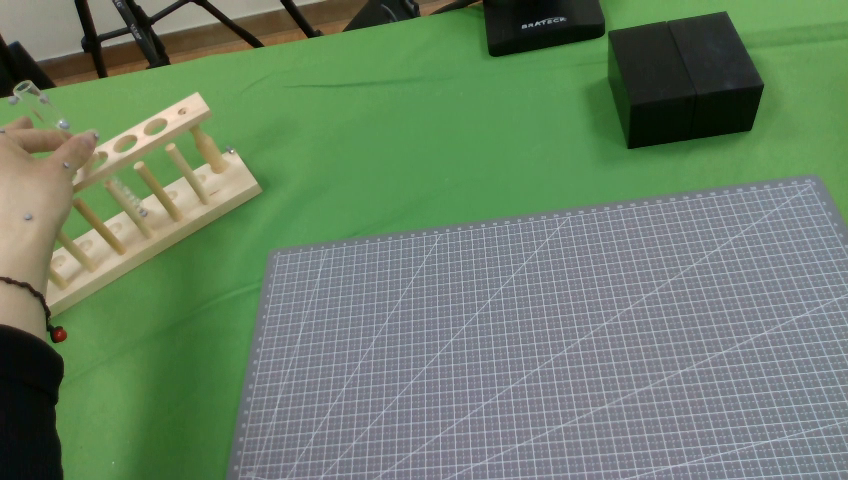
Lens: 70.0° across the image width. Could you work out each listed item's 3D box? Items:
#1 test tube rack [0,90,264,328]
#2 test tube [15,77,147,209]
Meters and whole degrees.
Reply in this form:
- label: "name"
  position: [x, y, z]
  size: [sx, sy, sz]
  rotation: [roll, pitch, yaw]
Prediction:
- label: "test tube rack"
  position: [-0.279, -0.030, 0.548]
  size: [0.242, 0.086, 0.066]
  rotation: [-33, 53, -11]
- label: "test tube"
  position: [-0.287, -0.076, 0.520]
  size: [0.017, 0.152, 0.017]
  rotation: [-9, 52, 12]
